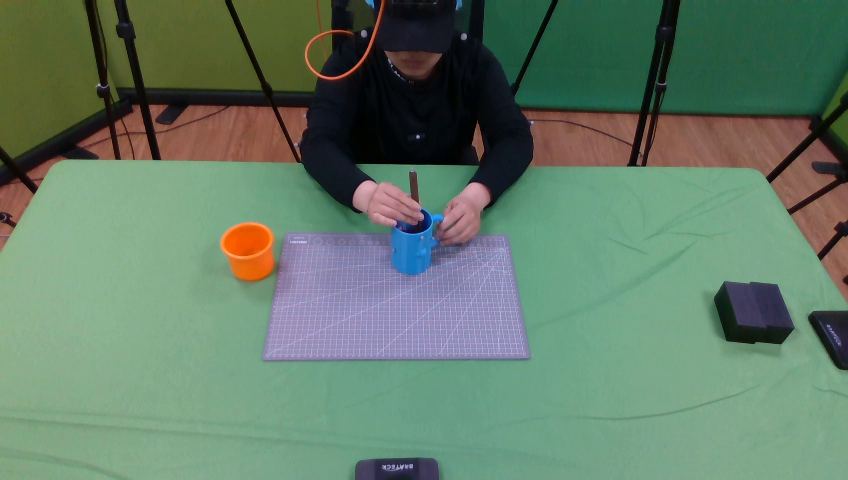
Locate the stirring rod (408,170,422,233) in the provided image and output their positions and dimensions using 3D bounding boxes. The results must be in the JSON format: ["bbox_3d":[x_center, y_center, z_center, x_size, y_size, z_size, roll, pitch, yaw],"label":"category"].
[{"bbox_3d":[-0.014,-0.048,1.084,0.014,0.177,0.006,7,39,15],"label":"stirring rod"}]

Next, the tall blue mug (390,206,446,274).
[{"bbox_3d":[-0.016,-0.008,1.142,0.077,0.108,0.107,23,49,19],"label":"tall blue mug"}]
